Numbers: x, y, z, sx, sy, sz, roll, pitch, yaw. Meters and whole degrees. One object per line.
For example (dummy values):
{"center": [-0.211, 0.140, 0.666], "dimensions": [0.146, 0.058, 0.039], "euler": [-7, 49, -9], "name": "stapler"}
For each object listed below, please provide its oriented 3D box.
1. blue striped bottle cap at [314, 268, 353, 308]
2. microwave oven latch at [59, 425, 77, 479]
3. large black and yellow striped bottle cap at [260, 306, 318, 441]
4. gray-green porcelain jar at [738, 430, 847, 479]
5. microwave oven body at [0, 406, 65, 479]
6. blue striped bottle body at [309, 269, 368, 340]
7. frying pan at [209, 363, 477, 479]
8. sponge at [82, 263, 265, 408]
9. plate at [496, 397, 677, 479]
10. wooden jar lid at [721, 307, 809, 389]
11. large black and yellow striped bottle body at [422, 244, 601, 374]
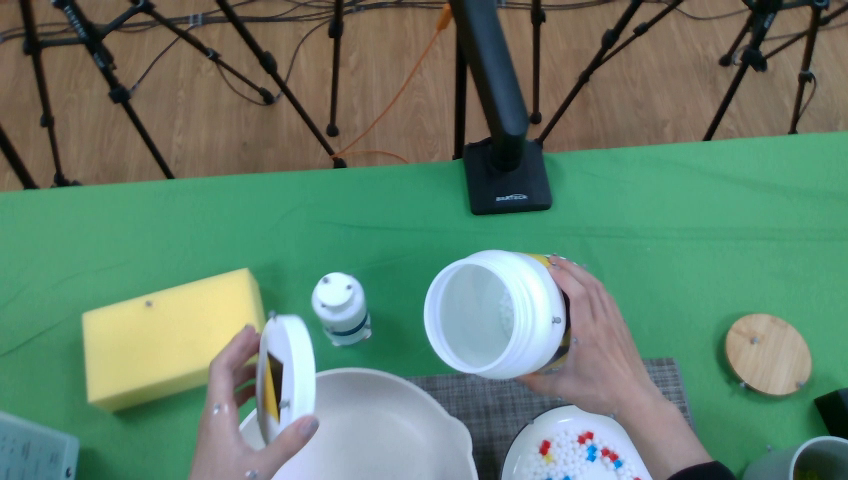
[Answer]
{"center": [-0.106, 0.056, 0.707], "dimensions": [0.044, 0.021, 0.044], "euler": [-1, 61, 2], "name": "blue striped bottle cap"}
{"center": [-0.419, 0.254, 0.692], "dimensions": [0.030, 0.030, 0.078], "euler": [-4, 65, -2], "name": "microwave oven latch"}
{"center": [-0.119, 0.114, 0.523], "dimensions": [0.019, 0.115, 0.114], "euler": [2, 60, -29], "name": "large black and yellow striped bottle cap"}
{"center": [0.416, 0.271, 0.661], "dimensions": [0.106, 0.127, 0.105], "euler": [0, 64, 0], "name": "gray-green porcelain jar"}
{"center": [-0.555, 0.379, 0.523], "dimensions": [0.326, 0.262, 0.438], "euler": [-4, 65, -2], "name": "microwave oven body"}
{"center": [-0.106, 0.078, 0.753], "dimensions": [0.063, 0.122, 0.062], "euler": [0, 64, 0], "name": "blue striped bottle body"}
{"center": [-0.040, 0.363, 0.622], "dimensions": [0.307, 0.103, 0.482], "euler": [-25, 59, -11], "name": "frying pan"}
{"center": [-0.310, 0.119, 0.766], "dimensions": [0.207, 0.061, 0.117], "euler": [-17, 65, -9], "name": "sponge"}
{"center": [0.184, 0.288, 0.697], "dimensions": [0.209, 0.038, 0.207], "euler": [0, 64, 0], "name": "plate"}
{"center": [0.438, 0.140, 0.784], "dimensions": [0.108, 0.021, 0.107], "euler": [0, 66, 0], "name": "wooden jar lid"}
{"center": [0.095, 0.072, 0.644], "dimensions": [0.130, 0.185, 0.130], "euler": [-3, 85, 37], "name": "large black and yellow striped bottle body"}
